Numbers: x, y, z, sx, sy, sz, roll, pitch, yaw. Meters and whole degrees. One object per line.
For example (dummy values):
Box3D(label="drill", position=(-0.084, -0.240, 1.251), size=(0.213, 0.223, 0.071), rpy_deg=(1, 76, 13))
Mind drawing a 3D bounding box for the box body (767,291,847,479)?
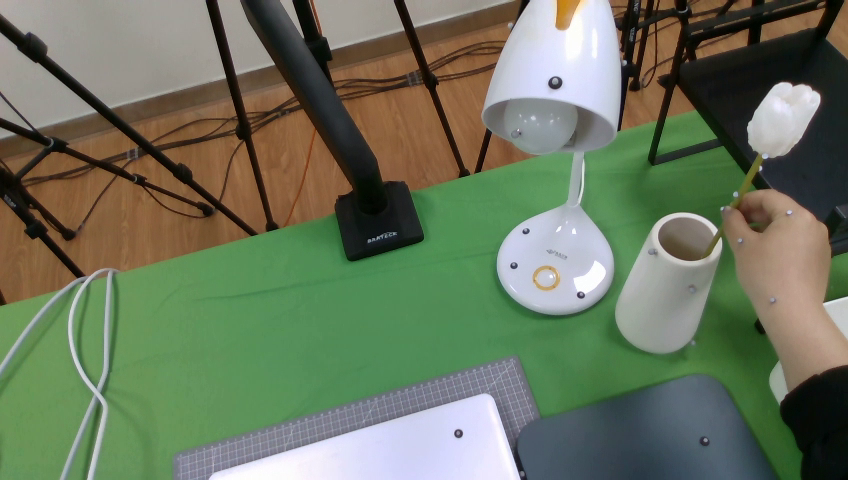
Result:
Box3D(label="box body", position=(0.542, 0.222, 0.575), size=(0.254, 0.162, 0.360), rpy_deg=(-14, 55, -1))

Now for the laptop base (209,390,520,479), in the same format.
Box3D(label="laptop base", position=(-0.058, 0.323, 0.674), size=(0.354, 0.023, 0.233), rpy_deg=(-16, 60, -3))

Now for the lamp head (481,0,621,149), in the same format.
Box3D(label="lamp head", position=(0.114, -0.148, 0.508), size=(0.112, 0.113, 0.122), rpy_deg=(10, 76, 14))

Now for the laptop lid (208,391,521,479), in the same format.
Box3D(label="laptop lid", position=(-0.059, 0.319, 0.664), size=(0.357, 0.013, 0.239), rpy_deg=(-14, 58, -2))

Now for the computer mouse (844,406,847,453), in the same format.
Box3D(label="computer mouse", position=(0.506, 0.193, 0.668), size=(0.062, 0.041, 0.116), rpy_deg=(16, 56, 21))

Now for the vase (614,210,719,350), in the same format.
Box3D(label="vase", position=(0.280, 0.049, 0.705), size=(0.098, 0.202, 0.097), rpy_deg=(-5, 54, 7))

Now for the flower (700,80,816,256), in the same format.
Box3D(label="flower", position=(0.285, -0.008, 0.594), size=(0.044, 0.365, 0.038), rpy_deg=(-18, 56, -6))

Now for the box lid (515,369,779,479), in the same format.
Box3D(label="box lid", position=(0.271, 0.327, 0.632), size=(0.263, 0.015, 0.367), rpy_deg=(-15, 56, -4))

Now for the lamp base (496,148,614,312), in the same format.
Box3D(label="lamp base", position=(0.175, -0.026, 0.782), size=(0.160, 0.182, 0.178), rpy_deg=(13, 56, 16))
